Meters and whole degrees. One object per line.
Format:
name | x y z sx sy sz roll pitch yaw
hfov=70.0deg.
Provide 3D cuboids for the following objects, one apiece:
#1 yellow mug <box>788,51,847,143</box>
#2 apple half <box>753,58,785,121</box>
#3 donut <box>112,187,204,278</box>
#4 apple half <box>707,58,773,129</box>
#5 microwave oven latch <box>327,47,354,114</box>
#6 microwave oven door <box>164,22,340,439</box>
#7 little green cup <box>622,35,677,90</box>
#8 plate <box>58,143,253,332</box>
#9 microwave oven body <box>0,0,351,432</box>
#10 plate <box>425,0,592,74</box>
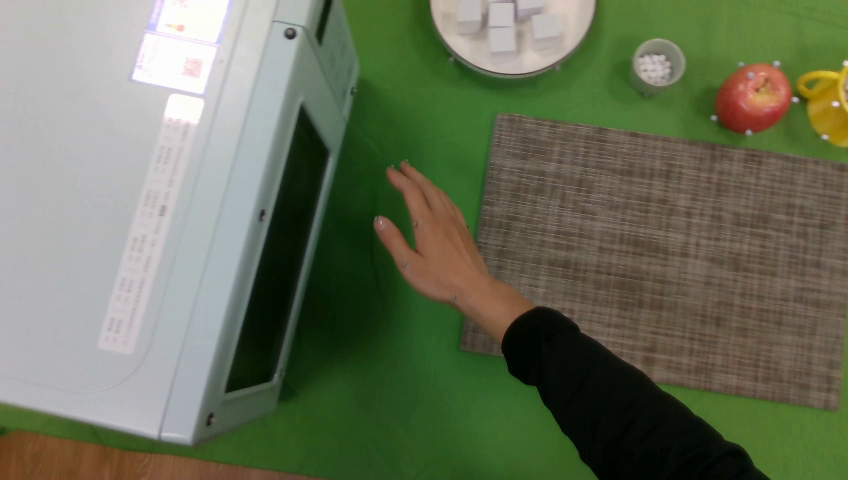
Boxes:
yellow mug | 0.509 -0.180 0.732 0.131 0.064 0.099 20 82 4
apple half | 0.410 -0.182 0.730 0.033 0.081 0.081 -18 82 3
donut | -0.288 -0.008 0.657 0.099 0.048 0.099 0 84 2
apple half | 0.372 -0.170 0.730 0.053 0.075 0.080 -18 86 3
microwave oven latch | -0.106 -0.196 0.738 0.030 0.029 0.079 13 83 2
microwave oven door | -0.157 0.001 0.609 0.039 0.244 0.355 12 82 3
little green cup | 0.278 -0.218 0.754 0.061 0.039 0.061 0 82 1
plate | -0.291 -0.002 0.670 0.209 0.038 0.208 0 83 1
microwave oven body | -0.290 -0.069 0.626 0.326 0.261 0.440 12 83 2
plate | 0.105 -0.305 0.768 0.208 0.039 0.207 0 82 1
